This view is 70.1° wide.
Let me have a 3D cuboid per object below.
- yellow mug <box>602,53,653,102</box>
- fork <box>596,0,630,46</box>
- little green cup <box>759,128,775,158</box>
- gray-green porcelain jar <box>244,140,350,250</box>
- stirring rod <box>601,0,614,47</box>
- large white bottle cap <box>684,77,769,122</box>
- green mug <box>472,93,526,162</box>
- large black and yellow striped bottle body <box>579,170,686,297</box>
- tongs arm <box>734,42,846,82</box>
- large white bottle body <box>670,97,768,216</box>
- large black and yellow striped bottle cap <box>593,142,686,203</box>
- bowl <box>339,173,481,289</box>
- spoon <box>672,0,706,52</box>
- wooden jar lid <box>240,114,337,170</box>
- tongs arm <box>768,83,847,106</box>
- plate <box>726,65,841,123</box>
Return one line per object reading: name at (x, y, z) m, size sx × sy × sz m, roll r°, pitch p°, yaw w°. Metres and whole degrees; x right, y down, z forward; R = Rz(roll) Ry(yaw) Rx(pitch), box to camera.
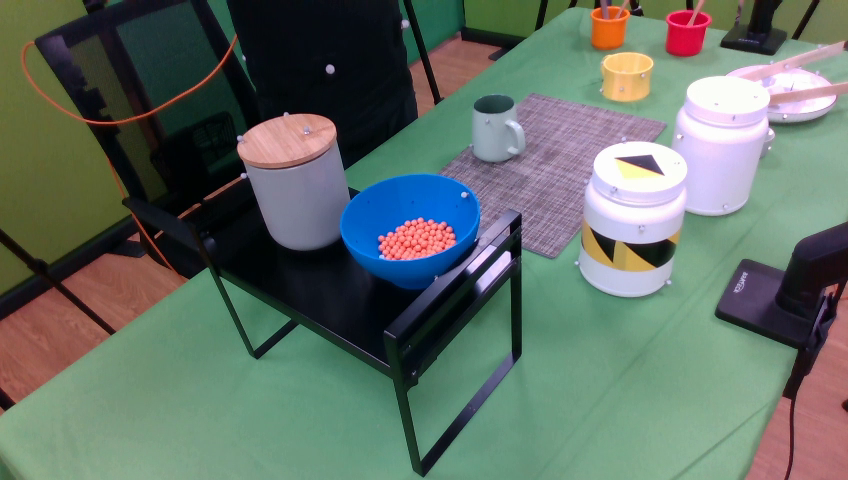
yellow mug at (0.423, -0.354, 1.293) m, size 0.100 × 0.064 × 0.129 m, roll -23°, pitch 42°, yaw -16°
fork at (0.481, -0.556, 1.453) m, size 0.028 × 0.019 × 0.207 m, roll 40°, pitch 103°, yaw 38°
little green cup at (0.588, -0.175, 1.080) m, size 0.061 × 0.039 × 0.061 m, roll -5°, pitch 40°, yaw 5°
gray-green porcelain jar at (-0.144, -0.060, 0.714) m, size 0.106 × 0.127 × 0.105 m, roll -4°, pitch 41°, yaw 4°
stirring rod at (0.439, -0.552, 1.463) m, size 0.014 × 0.006 × 0.175 m, roll -7°, pitch 83°, yaw 3°
large white bottle cap at (0.448, -0.210, 0.898) m, size 0.115 × 0.018 × 0.114 m, roll -4°, pitch 40°, yaw 4°
green mug at (0.144, -0.202, 1.122) m, size 0.093 × 0.105 × 0.124 m, roll -29°, pitch 45°, yaw -23°
large black and yellow striped bottle body at (0.287, -0.027, 0.842) m, size 0.131 × 0.185 × 0.130 m, roll -4°, pitch 41°, yaw 4°
tongs arm at (0.708, -0.331, 1.193) m, size 0.386 × 0.026 × 0.050 m, roll -18°, pitch 45°, yaw -15°
large white bottle body at (0.458, -0.146, 0.952) m, size 0.130 × 0.185 × 0.130 m, roll -4°, pitch 40°, yaw 4°
large black and yellow striped bottle cap at (0.280, -0.090, 0.786) m, size 0.115 × 0.019 × 0.114 m, roll -5°, pitch 41°, yaw 5°
bowl at (-0.011, 0.001, 0.660) m, size 0.151 × 0.077 × 0.150 m, roll -5°, pitch 41°, yaw 5°
spoon at (0.629, -0.520, 1.394) m, size 0.041 × 0.022 × 0.193 m, roll 29°, pitch 96°, yaw 34°
wooden jar lid at (-0.149, -0.106, 0.673) m, size 0.108 × 0.021 × 0.108 m, roll -6°, pitch 39°, yaw 5°
tongs arm at (0.734, -0.280, 1.133) m, size 0.388 × 0.028 × 0.028 m, roll -9°, pitch 47°, yaw -5°
plate at (0.694, -0.282, 1.189) m, size 0.207 × 0.039 × 0.206 m, roll -4°, pitch 40°, yaw 4°
